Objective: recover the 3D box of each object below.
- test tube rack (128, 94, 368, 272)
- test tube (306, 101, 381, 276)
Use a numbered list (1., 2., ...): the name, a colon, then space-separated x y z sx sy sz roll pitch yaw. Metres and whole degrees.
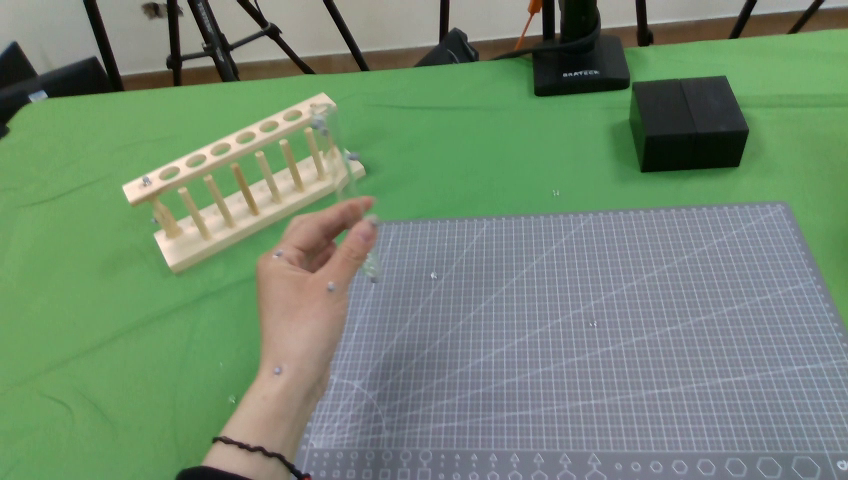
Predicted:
1. test tube rack: -0.191 -0.068 0.686 0.242 0.086 0.066 -30 49 -17
2. test tube: -0.054 -0.030 0.436 0.017 0.152 0.017 -8 40 7
